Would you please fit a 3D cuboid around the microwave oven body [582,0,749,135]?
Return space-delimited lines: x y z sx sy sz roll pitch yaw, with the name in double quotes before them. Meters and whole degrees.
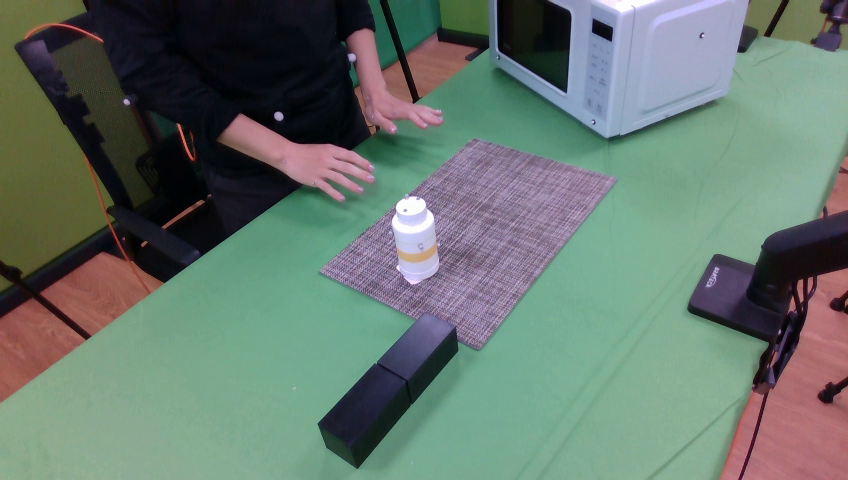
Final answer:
"microwave oven body" 0.382 -0.444 1.246 0.327 0.261 0.437 -22 42 -16

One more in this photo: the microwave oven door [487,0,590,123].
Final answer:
"microwave oven door" 0.231 -0.420 1.231 0.039 0.245 0.352 -22 43 -16

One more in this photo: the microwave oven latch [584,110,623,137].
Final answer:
"microwave oven latch" 0.337 -0.222 1.142 0.030 0.029 0.078 -21 42 -15

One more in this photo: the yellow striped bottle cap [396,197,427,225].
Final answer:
"yellow striped bottle cap" -0.018 -0.042 0.858 0.044 0.019 0.044 -5 38 4

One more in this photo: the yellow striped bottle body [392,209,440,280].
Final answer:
"yellow striped bottle body" -0.013 -0.003 0.892 0.063 0.121 0.062 -4 41 4
